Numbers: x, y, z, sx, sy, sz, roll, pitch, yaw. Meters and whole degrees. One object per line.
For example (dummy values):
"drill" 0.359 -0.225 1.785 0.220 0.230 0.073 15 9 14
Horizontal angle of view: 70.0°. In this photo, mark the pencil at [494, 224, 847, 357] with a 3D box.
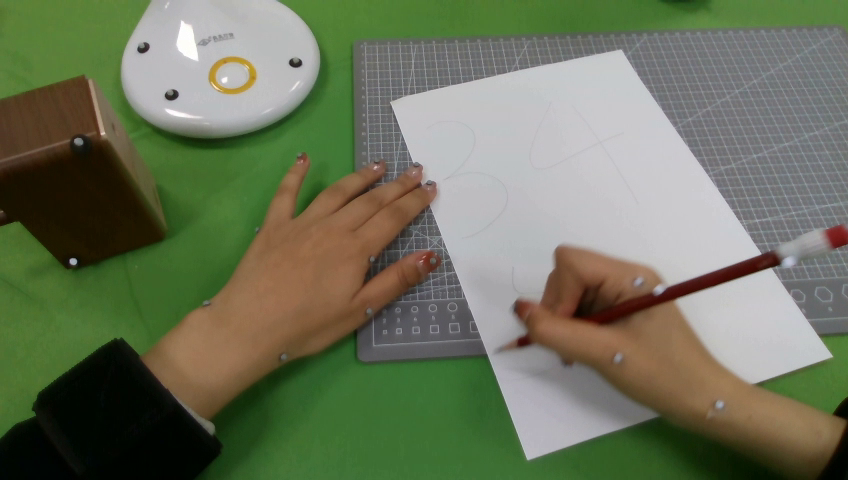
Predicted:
"pencil" 0.114 0.034 0.318 0.194 0.012 0.012 -28 50 34

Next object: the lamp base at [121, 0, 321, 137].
"lamp base" -0.174 -0.197 0.444 0.160 0.182 0.177 -31 61 -19

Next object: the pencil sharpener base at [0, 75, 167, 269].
"pencil sharpener base" -0.223 -0.039 0.387 0.077 0.108 0.061 -21 61 -13

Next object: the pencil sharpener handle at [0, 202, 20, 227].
"pencil sharpener handle" -0.270 -0.028 0.365 0.031 0.068 0.035 -21 63 -13
